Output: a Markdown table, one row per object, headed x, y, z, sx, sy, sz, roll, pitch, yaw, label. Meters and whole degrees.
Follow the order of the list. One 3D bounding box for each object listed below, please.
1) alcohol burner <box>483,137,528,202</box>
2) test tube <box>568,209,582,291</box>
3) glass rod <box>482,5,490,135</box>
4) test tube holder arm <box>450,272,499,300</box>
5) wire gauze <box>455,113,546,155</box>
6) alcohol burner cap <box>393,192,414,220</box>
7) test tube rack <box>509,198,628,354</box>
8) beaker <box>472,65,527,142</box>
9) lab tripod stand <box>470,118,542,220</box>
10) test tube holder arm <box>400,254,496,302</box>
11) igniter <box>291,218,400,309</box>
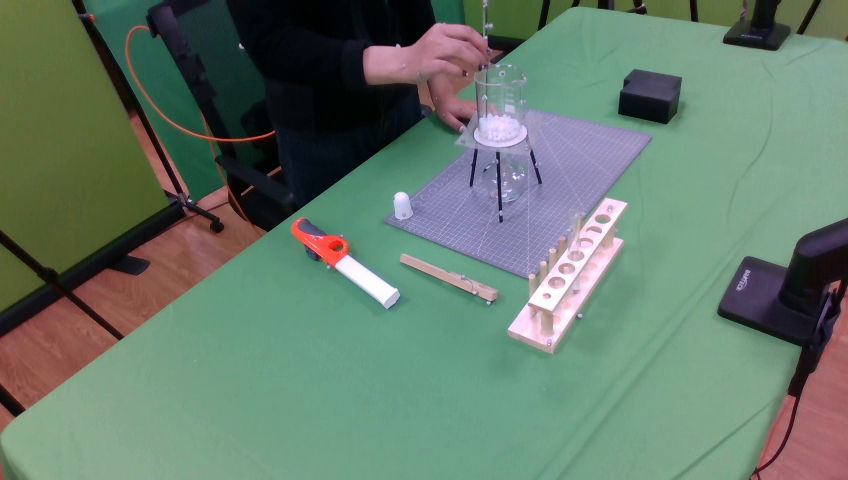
| x | y | z | sx | sy | sz | roll | pitch | yaw | label |
| --- | --- | --- | --- | --- | --- | --- | --- | --- | --- |
| 0.138 | -0.125 | 1.030 | 0.078 | 0.119 | 0.077 | -4 | 41 | 4 | alcohol burner |
| 0.200 | 0.018 | 0.799 | 0.017 | 0.151 | 0.017 | -8 | 45 | 8 | test tube |
| 0.094 | -0.247 | 0.900 | 0.008 | 0.200 | 0.008 | -4 | 37 | 3 | glass rod |
| 0.071 | 0.068 | 0.895 | 0.087 | 0.015 | 0.010 | 22 | 17 | 33 | test tube holder arm |
| 0.124 | -0.175 | 0.973 | 0.124 | 0.011 | 0.121 | 8 | 40 | 21 | wire gauze |
| -0.038 | -0.061 | 1.043 | 0.034 | 0.048 | 0.033 | -5 | 40 | 5 | alcohol burner cap |
| 0.206 | 0.039 | 0.850 | 0.066 | 0.085 | 0.243 | 20 | 48 | 31 | test tube rack |
| 0.120 | -0.211 | 0.942 | 0.083 | 0.101 | 0.074 | 10 | 42 | 22 | beaker |
| 0.135 | -0.128 | 1.019 | 0.148 | 0.132 | 0.147 | -5 | 38 | 5 | lab tripod stand |
| 0.033 | 0.054 | 0.915 | 0.177 | 0.015 | 0.013 | 21 | 17 | 33 | test tube holder arm |
| -0.136 | 0.031 | 0.970 | 0.057 | 0.025 | 0.274 | -41 | 49 | -19 | igniter |
